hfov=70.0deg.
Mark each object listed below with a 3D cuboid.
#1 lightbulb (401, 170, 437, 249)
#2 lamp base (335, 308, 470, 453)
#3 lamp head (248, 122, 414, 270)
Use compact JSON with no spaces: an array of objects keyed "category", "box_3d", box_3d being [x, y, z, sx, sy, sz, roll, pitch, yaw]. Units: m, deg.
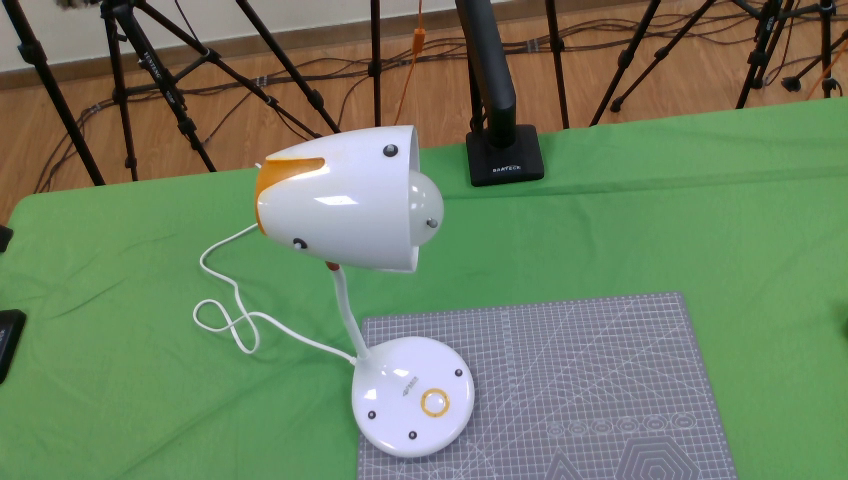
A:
[{"category":"lightbulb","box_3d":[-0.044,-0.020,0.452,0.107,0.060,0.059,-4,56,7]},{"category":"lamp base","box_3d":[-0.041,0.151,0.729,0.178,0.182,0.160,16,60,21]},{"category":"lamp head","box_3d":[-0.067,-0.030,0.459,0.123,0.113,0.111,-2,57,8]}]
